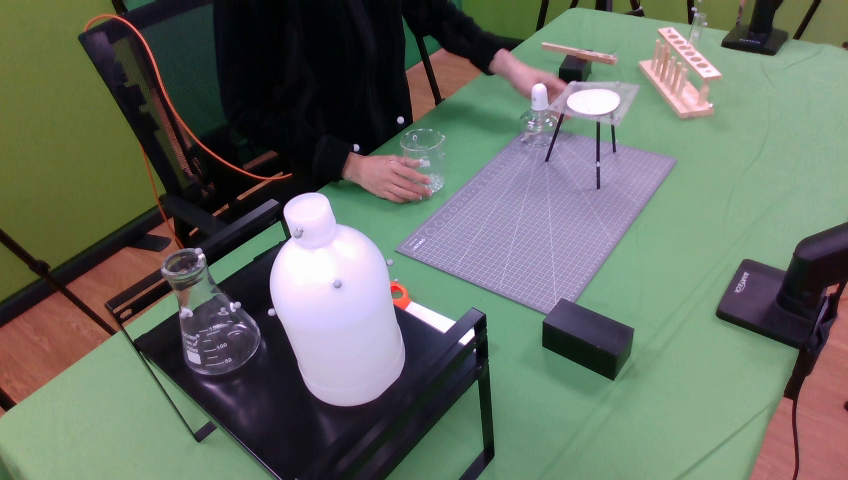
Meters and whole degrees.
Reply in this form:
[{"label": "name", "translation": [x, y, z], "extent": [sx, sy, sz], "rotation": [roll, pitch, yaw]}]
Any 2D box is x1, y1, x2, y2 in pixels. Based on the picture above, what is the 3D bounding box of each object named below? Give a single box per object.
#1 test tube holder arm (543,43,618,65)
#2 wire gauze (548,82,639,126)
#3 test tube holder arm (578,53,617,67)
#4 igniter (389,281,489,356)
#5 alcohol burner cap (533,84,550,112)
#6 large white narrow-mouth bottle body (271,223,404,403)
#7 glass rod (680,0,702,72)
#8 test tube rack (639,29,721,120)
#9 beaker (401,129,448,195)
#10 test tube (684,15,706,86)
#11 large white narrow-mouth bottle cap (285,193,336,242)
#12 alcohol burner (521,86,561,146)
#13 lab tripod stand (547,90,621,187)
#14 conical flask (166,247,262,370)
[{"label": "test tube holder arm", "translation": [0.345, -0.413, 1.340], "extent": [0.177, 0.015, 0.013], "rotation": [25, 51, 31]}, {"label": "wire gauze", "translation": [0.286, -0.235, 1.019], "extent": [0.124, 0.011, 0.121], "rotation": [17, 47, 28]}, {"label": "test tube holder arm", "translation": [0.376, -0.393, 1.314], "extent": [0.087, 0.015, 0.010], "rotation": [26, 51, 32]}, {"label": "igniter", "translation": [-0.030, 0.095, 0.871], "extent": [0.274, 0.025, 0.057], "rotation": [22, 59, 31]}, {"label": "alcohol burner cap", "translation": [0.218, -0.268, 1.133], "extent": [0.034, 0.048, 0.033], "rotation": [-9, 36, 7]}, {"label": "large white narrow-mouth bottle body", "translation": [-0.077, 0.048, 0.525], "extent": [0.102, 0.195, 0.101], "rotation": [-5, 40, 5]}, {"label": "glass rod", "translation": [0.543, -0.417, 1.233], "extent": [0.008, 0.200, 0.008], "rotation": [1, 40, 0]}, {"label": "test tube rack", "translation": [0.527, -0.351, 1.262], "extent": [0.067, 0.085, 0.241], "rotation": [-8, 40, 1]}, {"label": "beaker", "translation": [0.005, -0.140, 1.087], "extent": [0.084, 0.101, 0.073], "rotation": [-14, 41, -7]}, {"label": "test tube", "translation": [0.540, -0.378, 1.215], "extent": [0.017, 0.151, 0.017], "rotation": [-2, 44, 3]}, {"label": "large white narrow-mouth bottle cap", "translation": [-0.087, -0.018, 0.467], "extent": [0.038, 0.024, 0.037], "rotation": [-5, 40, 4]}, {"label": "alcohol burner", "translation": [0.223, -0.241, 1.155], "extent": [0.078, 0.119, 0.077], "rotation": [-5, 43, 5]}, {"label": "lab tripod stand", "translation": [0.289, -0.184, 1.062], "extent": [0.148, 0.132, 0.147], "rotation": [-6, 41, 6]}, {"label": "conical flask", "translation": [-0.209, 0.063, 0.584], "extent": [0.075, 0.122, 0.075], "rotation": [-5, 40, 4]}]
